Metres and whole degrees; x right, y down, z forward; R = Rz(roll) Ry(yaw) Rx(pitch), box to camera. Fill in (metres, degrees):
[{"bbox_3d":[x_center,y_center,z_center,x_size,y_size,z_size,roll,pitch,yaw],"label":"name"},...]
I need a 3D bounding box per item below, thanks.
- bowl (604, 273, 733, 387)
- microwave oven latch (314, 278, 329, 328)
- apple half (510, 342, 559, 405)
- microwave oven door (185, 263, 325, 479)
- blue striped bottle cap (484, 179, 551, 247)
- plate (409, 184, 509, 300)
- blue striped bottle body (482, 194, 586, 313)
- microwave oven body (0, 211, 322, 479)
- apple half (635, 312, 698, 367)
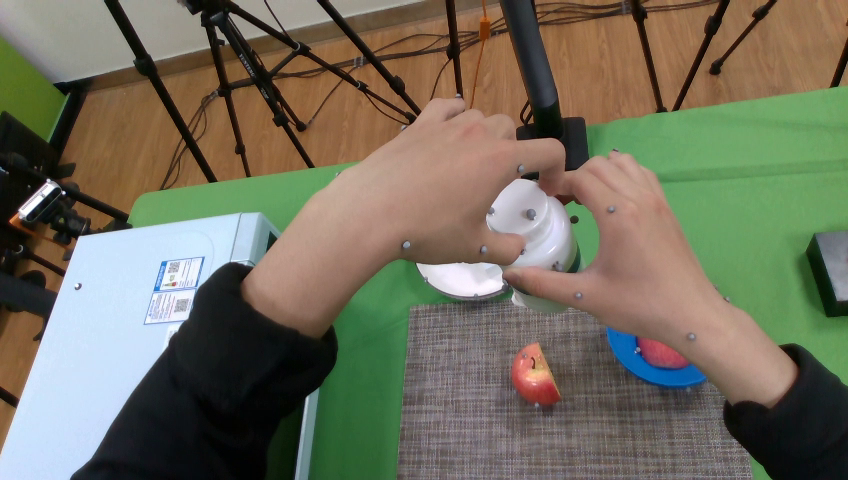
[{"bbox_3d":[0.314,0.127,0.789,0.151,0.077,0.150,-9,58,15],"label":"bowl"},{"bbox_3d":[-0.171,0.102,0.977,0.030,0.030,0.078,-8,59,14],"label":"microwave oven latch"},{"bbox_3d":[0.144,0.185,0.816,0.053,0.075,0.080,-24,59,8],"label":"apple half"},{"bbox_3d":[-0.210,0.239,0.785,0.039,0.246,0.352,-7,58,15],"label":"microwave oven door"},{"bbox_3d":[0.063,-0.019,0.413,0.044,0.021,0.044,-7,66,17],"label":"blue striped bottle cap"},{"bbox_3d":[0.080,0.006,0.971,0.207,0.039,0.206,-8,59,14],"label":"plate"},{"bbox_3d":[0.083,0.007,0.459,0.063,0.122,0.062,-10,60,19],"label":"blue striped bottle body"},{"bbox_3d":[-0.348,0.223,0.847,0.325,0.263,0.438,-7,59,14],"label":"microwave oven body"},{"bbox_3d":[0.314,0.125,0.784,0.081,0.033,0.080,-9,57,14],"label":"apple half"}]
